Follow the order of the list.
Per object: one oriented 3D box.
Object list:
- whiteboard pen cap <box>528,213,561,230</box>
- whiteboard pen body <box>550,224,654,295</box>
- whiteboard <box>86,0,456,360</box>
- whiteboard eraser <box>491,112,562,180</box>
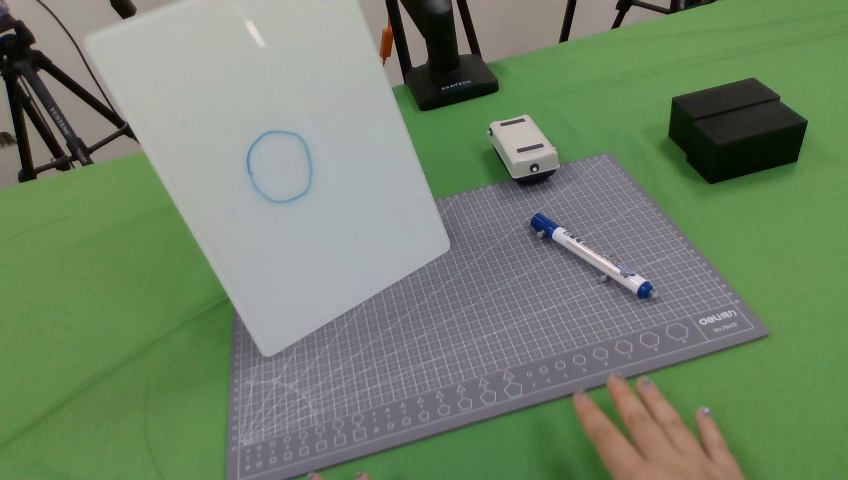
[{"bbox_3d":[0.124,-0.019,0.622,0.033,0.018,0.018,-1,42,15],"label":"whiteboard pen cap"},{"bbox_3d":[0.160,0.011,0.581,0.017,0.017,0.139,-30,44,-20],"label":"whiteboard pen body"},{"bbox_3d":[-0.137,-0.085,0.590,0.217,0.308,0.142,-30,24,-19],"label":"whiteboard"},{"bbox_3d":[0.119,-0.111,0.716,0.055,0.042,0.111,-16,37,-1],"label":"whiteboard eraser"}]
